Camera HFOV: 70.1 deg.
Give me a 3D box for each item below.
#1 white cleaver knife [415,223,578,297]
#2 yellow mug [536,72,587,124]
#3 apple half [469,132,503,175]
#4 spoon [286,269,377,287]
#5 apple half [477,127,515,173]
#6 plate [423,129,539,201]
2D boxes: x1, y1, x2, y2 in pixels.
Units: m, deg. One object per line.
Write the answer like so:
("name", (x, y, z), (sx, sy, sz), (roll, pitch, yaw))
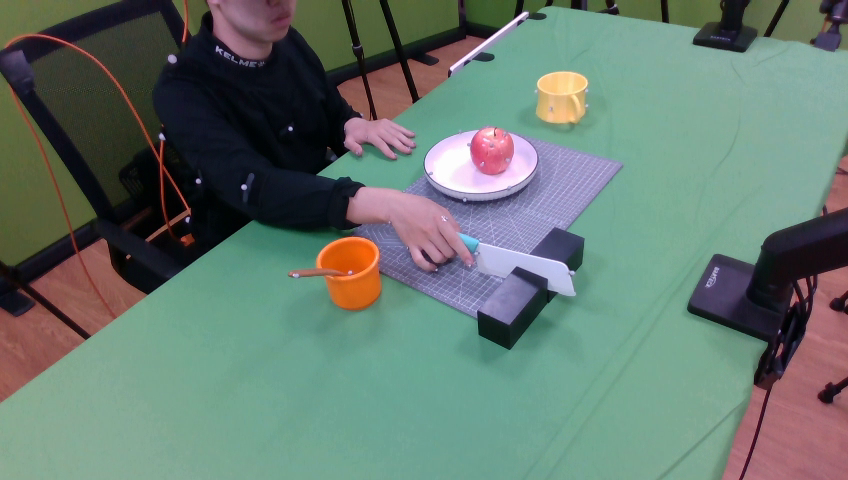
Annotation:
("white cleaver knife", (0.093, 0.028, 0.880), (0.284, 0.066, 0.021), (17, 44, 40))
("yellow mug", (0.284, -0.281, 1.222), (0.100, 0.064, 0.130), (-15, 42, -10))
("apple half", (0.102, -0.146, 1.067), (0.033, 0.081, 0.080), (-28, 44, -29))
("spoon", (-0.125, 0.050, 0.831), (0.041, 0.195, 0.021), (22, 92, 28))
("apple half", (0.132, -0.164, 1.085), (0.053, 0.075, 0.080), (-28, 41, -28))
("plate", (0.103, -0.132, 1.092), (0.209, 0.038, 0.208), (-4, 40, 4))
